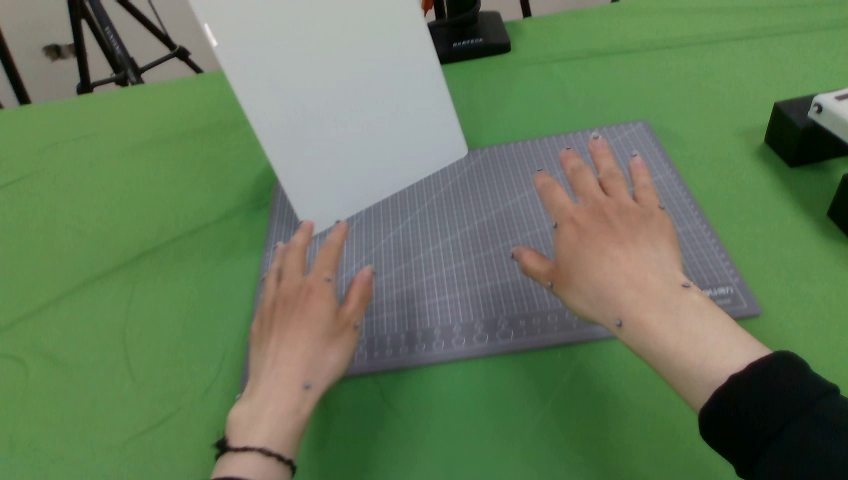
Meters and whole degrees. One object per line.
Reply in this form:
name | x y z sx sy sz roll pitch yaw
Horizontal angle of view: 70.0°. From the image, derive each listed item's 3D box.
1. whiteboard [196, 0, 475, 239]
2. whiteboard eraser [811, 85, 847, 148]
whiteboard | -0.109 -0.197 0.674 0.217 0.308 0.142 -29 26 -16
whiteboard eraser | 0.409 -0.103 0.547 0.055 0.042 0.111 -17 40 3
